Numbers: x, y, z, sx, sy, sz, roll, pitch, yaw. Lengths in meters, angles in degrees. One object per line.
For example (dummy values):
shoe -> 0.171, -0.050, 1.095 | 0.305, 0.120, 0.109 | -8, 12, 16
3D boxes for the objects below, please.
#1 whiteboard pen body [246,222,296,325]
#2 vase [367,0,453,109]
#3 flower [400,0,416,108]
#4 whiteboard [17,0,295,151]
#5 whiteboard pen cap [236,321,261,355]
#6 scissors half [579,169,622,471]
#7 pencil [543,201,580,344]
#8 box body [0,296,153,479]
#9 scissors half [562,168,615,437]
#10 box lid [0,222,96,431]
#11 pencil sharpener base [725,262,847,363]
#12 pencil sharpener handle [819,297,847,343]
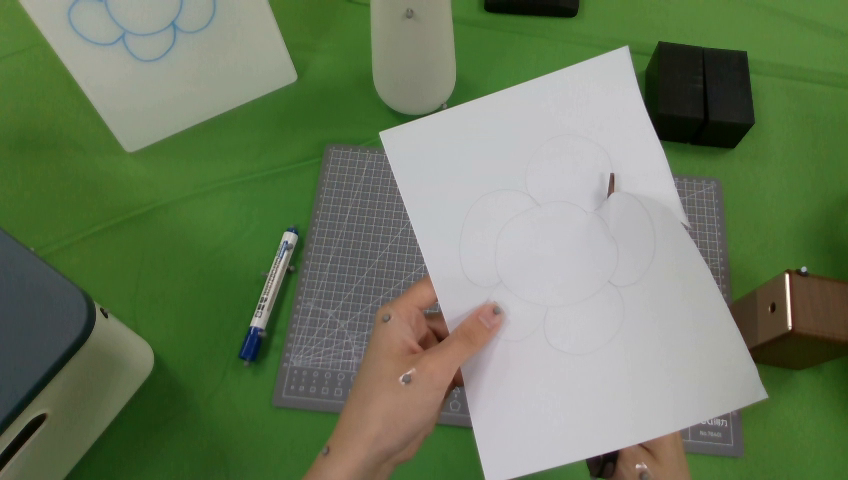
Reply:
whiteboard pen body -> -0.161, 0.044, 0.626 | 0.017, 0.017, 0.140 | 12, 66, 6
vase -> -0.017, -0.230, 0.643 | 0.098, 0.201, 0.097 | -1, 66, 2
flower -> -0.023, -0.275, 0.572 | 0.044, 0.365, 0.038 | -1, 49, 4
whiteboard -> -0.306, -0.292, 0.645 | 0.217, 0.308, 0.142 | -27, 50, -10
whiteboard pen cap -> -0.173, 0.096, 0.602 | 0.018, 0.018, 0.033 | 12, 63, 6
scissors half -> 0.103, 0.046, 0.350 | 0.013, 0.040, 0.175 | 2, 86, -8
pencil -> 0.147, 0.048, 0.628 | 0.012, 0.012, 0.192 | -7, 69, -2
box body -> -0.465, 0.085, 0.532 | 0.362, 0.161, 0.253 | 31, 71, 12
scissors half -> 0.102, 0.042, 0.371 | 0.013, 0.040, 0.176 | 3, 111, -3
box lid -> -0.468, 0.055, 0.464 | 0.370, 0.015, 0.262 | 31, 70, 12
pencil sharpener base -> 0.343, 0.071, 0.565 | 0.077, 0.107, 0.061 | 10, 67, 1
pencil sharpener handle -> 0.394, 0.076, 0.553 | 0.030, 0.068, 0.035 | 10, 61, 1
